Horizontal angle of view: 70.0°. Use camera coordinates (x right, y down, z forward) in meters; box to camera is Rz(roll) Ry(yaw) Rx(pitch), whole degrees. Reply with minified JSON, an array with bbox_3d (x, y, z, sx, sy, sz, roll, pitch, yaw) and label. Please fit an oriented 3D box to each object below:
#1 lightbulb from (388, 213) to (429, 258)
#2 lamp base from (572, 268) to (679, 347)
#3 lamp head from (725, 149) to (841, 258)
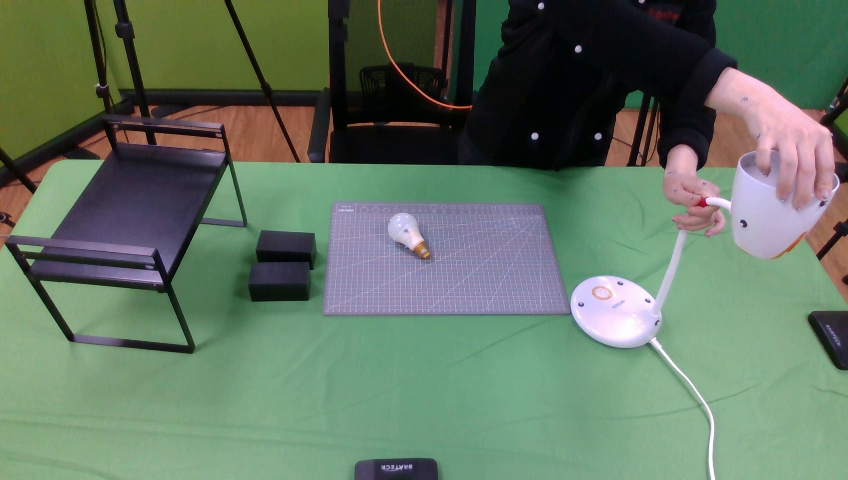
[{"bbox_3d":[-0.027,-0.006,1.179,0.059,0.060,0.107,-31,71,-29],"label":"lightbulb"},{"bbox_3d":[0.359,0.079,1.036,0.160,0.181,0.178,-34,59,-30],"label":"lamp base"},{"bbox_3d":[0.432,-0.041,0.756,0.112,0.123,0.111,2,40,-1],"label":"lamp head"}]
